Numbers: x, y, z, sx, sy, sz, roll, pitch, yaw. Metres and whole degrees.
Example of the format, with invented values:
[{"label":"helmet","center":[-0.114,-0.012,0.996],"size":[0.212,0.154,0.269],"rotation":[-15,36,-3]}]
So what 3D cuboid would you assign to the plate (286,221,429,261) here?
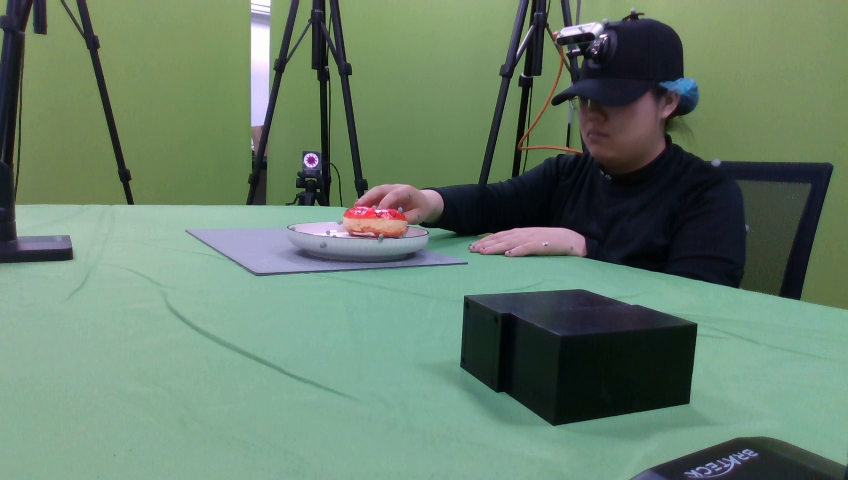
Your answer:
[{"label":"plate","center":[-0.096,0.001,0.886],"size":[0.209,0.038,0.209],"rotation":[2,7,0]}]

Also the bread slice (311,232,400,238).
[{"label":"bread slice","center":[-0.101,0.002,0.885],"size":[0.135,0.018,0.106],"rotation":[-3,8,-38]}]

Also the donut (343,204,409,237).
[{"label":"donut","center":[-0.071,-0.027,0.893],"size":[0.099,0.048,0.099],"rotation":[4,4,0]}]
